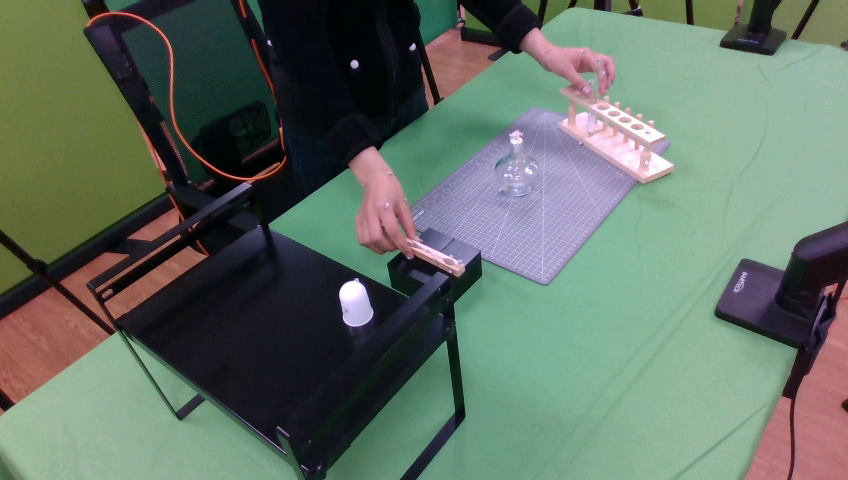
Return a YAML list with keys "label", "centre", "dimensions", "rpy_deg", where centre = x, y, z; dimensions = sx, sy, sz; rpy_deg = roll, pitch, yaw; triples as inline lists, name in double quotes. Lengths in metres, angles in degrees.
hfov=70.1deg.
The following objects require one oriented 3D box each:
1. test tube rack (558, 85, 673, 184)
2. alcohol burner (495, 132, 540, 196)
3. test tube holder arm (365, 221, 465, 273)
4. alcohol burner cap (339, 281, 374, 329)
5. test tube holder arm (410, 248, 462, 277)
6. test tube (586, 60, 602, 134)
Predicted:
- label: "test tube rack"
  centre: [0.348, -0.203, 1.109]
  dimensions: [0.067, 0.085, 0.240]
  rpy_deg: [-22, 42, -17]
- label: "alcohol burner"
  centre: [0.160, -0.135, 1.035]
  dimensions: [0.078, 0.119, 0.077]
  rpy_deg: [-5, 42, 5]
- label: "test tube holder arm"
  centre: [-0.016, 0.009, 0.882]
  dimensions: [0.177, 0.015, 0.013]
  rpy_deg: [25, 52, 29]
- label: "alcohol burner cap"
  centre: [-0.071, 0.063, 0.617]
  dimensions: [0.034, 0.048, 0.033]
  rpy_deg: [-4, 39, 4]
- label: "test tube holder arm"
  centre: [0.016, 0.029, 0.857]
  dimensions: [0.087, 0.015, 0.010]
  rpy_deg: [26, 53, 30]
- label: "test tube"
  centre: [0.309, -0.256, 1.100]
  dimensions: [0.017, 0.151, 0.017]
  rpy_deg: [-4, 44, 4]
